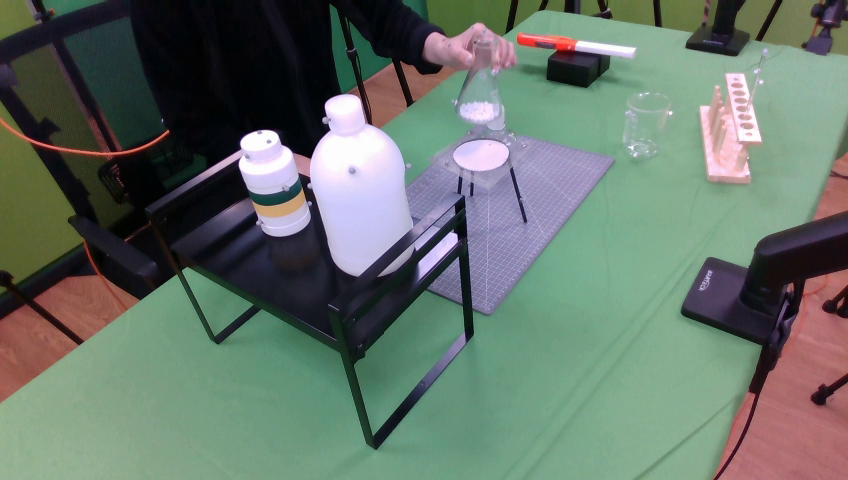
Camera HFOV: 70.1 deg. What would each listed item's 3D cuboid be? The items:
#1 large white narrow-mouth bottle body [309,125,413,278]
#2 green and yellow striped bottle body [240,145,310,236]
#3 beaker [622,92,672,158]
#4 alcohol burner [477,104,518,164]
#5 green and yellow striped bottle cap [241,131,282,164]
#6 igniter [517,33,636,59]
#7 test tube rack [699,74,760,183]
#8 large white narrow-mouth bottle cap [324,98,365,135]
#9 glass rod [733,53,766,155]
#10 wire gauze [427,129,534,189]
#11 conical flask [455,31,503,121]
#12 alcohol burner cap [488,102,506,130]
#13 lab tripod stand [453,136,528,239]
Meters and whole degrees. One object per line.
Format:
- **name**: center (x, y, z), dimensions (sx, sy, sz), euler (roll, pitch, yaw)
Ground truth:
- **large white narrow-mouth bottle body**: center (-0.068, -0.057, 0.644), dimensions (0.102, 0.195, 0.101), euler (-3, 42, 4)
- **green and yellow striped bottle body**: center (-0.181, -0.068, 0.729), dimensions (0.063, 0.120, 0.063), euler (-4, 40, 4)
- **beaker**: center (0.402, -0.210, 1.106), dimensions (0.074, 0.101, 0.083), euler (-9, 40, -2)
- **alcohol burner**: center (0.135, -0.200, 1.117), dimensions (0.078, 0.119, 0.077), euler (-4, 43, 4)
- **green and yellow striped bottle cap**: center (-0.187, -0.107, 0.695), dimensions (0.045, 0.020, 0.045), euler (-3, 39, 3)
- **igniter**: center (0.336, -0.441, 1.369), dimensions (0.275, 0.025, 0.057), euler (16, 41, 23)
- **test tube rack**: center (0.547, -0.208, 1.095), dimensions (0.066, 0.085, 0.242), euler (6, 42, 16)
- **large white narrow-mouth bottle cap**: center (-0.076, -0.120, 0.585), dimensions (0.038, 0.024, 0.037), euler (-3, 42, 3)
- **glass rod**: center (0.540, -0.219, 1.006), dimensions (0.008, 0.201, 0.008), euler (-5, 45, 6)
- **wire gauze**: center (0.086, -0.131, 0.924), dimensions (0.124, 0.011, 0.122), euler (26, 52, 33)
- **conical flask**: center (0.087, -0.247, 0.908), dimensions (0.075, 0.122, 0.075), euler (2, 38, -1)
- **alcohol burner cap**: center (0.133, -0.227, 1.092), dimensions (0.034, 0.048, 0.033), euler (-2, 47, 2)
- **lab tripod stand**: center (0.094, -0.086, 0.974), dimensions (0.148, 0.132, 0.147), euler (-4, 43, 4)
